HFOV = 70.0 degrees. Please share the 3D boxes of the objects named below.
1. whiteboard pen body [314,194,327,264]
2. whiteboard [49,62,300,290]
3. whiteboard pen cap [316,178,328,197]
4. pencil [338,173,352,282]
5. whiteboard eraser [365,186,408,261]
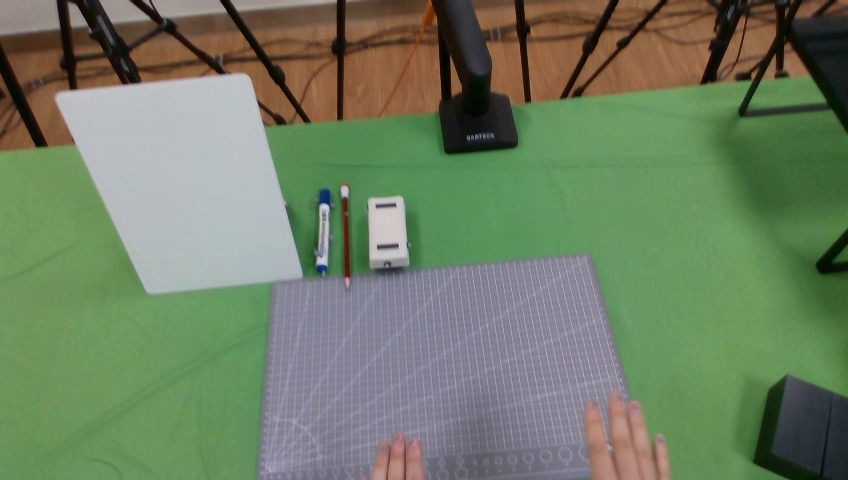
[{"bbox_3d":[-0.151,-0.028,0.883,0.017,0.017,0.139,-4,57,0],"label":"whiteboard pen body"},{"bbox_3d":[-0.293,-0.103,0.803,0.217,0.308,0.142,-5,38,0],"label":"whiteboard"},{"bbox_3d":[-0.153,-0.077,0.913,0.018,0.018,0.033,-6,56,-1],"label":"whiteboard pen cap"},{"bbox_3d":[-0.114,-0.022,0.882,0.012,0.012,0.192,-8,58,-2],"label":"pencil"},{"bbox_3d":[-0.055,-0.023,0.862,0.055,0.042,0.111,-6,58,0],"label":"whiteboard eraser"}]
